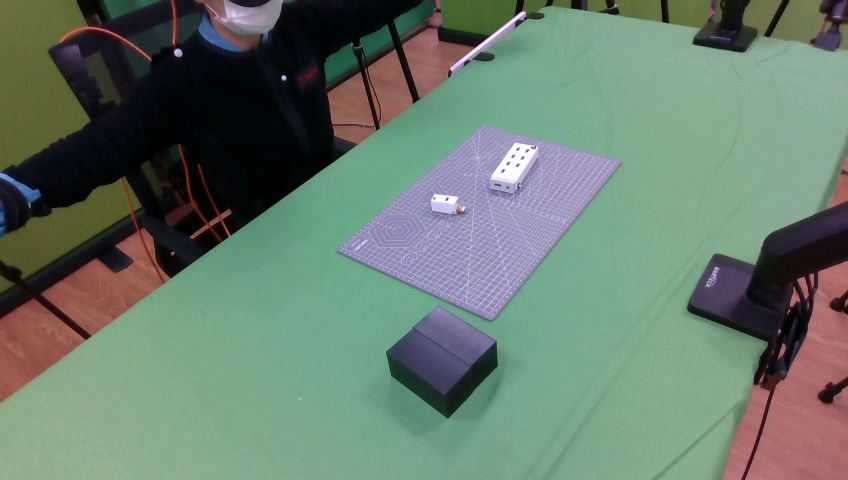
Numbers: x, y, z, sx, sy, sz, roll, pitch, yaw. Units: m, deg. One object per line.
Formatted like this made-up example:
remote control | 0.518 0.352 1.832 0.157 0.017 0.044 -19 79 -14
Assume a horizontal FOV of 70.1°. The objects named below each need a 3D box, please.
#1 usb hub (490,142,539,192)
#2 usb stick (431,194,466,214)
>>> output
usb hub | 0.165 -0.132 1.092 0.049 0.025 0.125 15 46 24
usb stick | 0.043 -0.060 1.025 0.059 0.027 0.021 12 43 17
